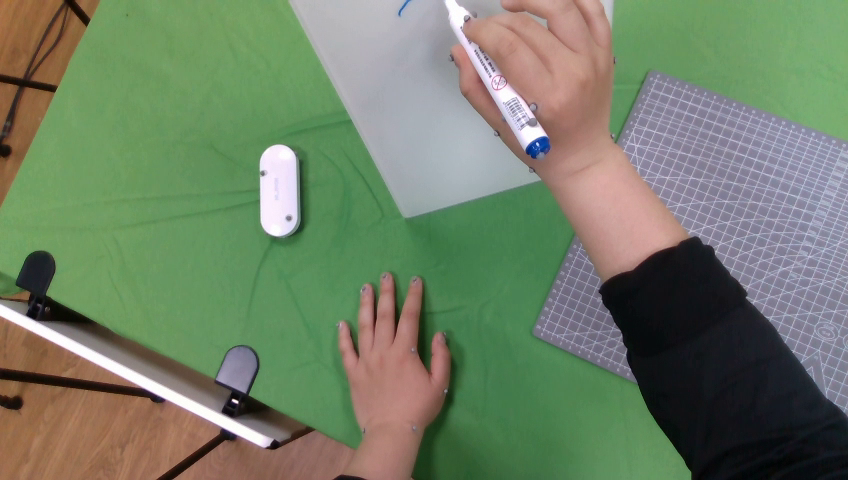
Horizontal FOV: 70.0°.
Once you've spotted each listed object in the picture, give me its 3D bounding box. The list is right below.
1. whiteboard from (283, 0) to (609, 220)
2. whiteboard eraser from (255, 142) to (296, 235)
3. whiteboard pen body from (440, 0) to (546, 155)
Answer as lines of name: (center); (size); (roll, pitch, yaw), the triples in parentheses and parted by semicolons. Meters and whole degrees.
whiteboard: (0.032, -0.178, 0.534); (0.217, 0.308, 0.142); (-16, 61, 6)
whiteboard eraser: (-0.161, -0.056, 0.657); (0.041, 0.019, 0.101); (-3, 84, 6)
whiteboard pen body: (0.038, -0.110, 0.378); (0.017, 0.017, 0.139); (-28, 68, 4)
